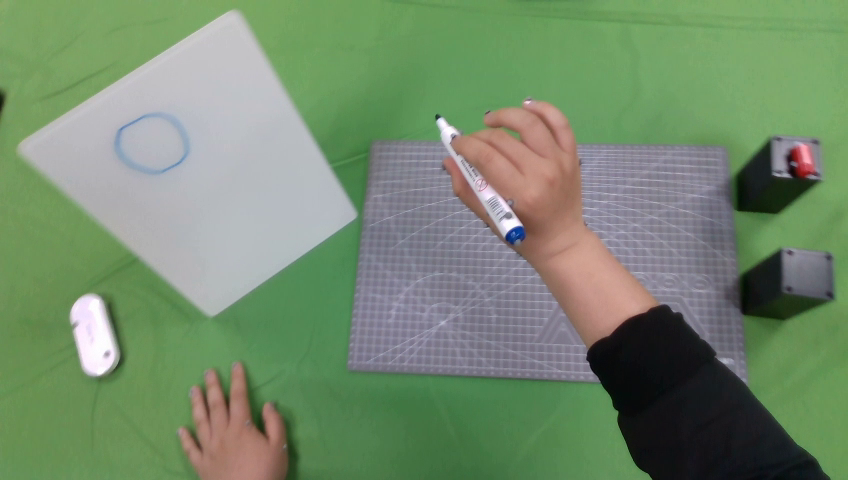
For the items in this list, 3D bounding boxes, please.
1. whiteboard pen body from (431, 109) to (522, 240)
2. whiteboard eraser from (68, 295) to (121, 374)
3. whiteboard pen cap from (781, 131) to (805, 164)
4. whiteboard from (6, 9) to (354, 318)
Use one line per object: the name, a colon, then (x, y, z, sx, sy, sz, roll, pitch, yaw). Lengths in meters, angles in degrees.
whiteboard pen body: (0.035, -0.055, 0.460, 0.017, 0.017, 0.139, -27, 58, -4)
whiteboard eraser: (-0.399, 0.113, 0.730, 0.041, 0.019, 0.100, -25, 73, -5)
whiteboard pen cap: (0.388, -0.096, 0.635, 0.017, 0.017, 0.032, -4, 73, 3)
whiteboard: (-0.252, -0.093, 0.670, 0.217, 0.309, 0.142, -36, 53, -7)
